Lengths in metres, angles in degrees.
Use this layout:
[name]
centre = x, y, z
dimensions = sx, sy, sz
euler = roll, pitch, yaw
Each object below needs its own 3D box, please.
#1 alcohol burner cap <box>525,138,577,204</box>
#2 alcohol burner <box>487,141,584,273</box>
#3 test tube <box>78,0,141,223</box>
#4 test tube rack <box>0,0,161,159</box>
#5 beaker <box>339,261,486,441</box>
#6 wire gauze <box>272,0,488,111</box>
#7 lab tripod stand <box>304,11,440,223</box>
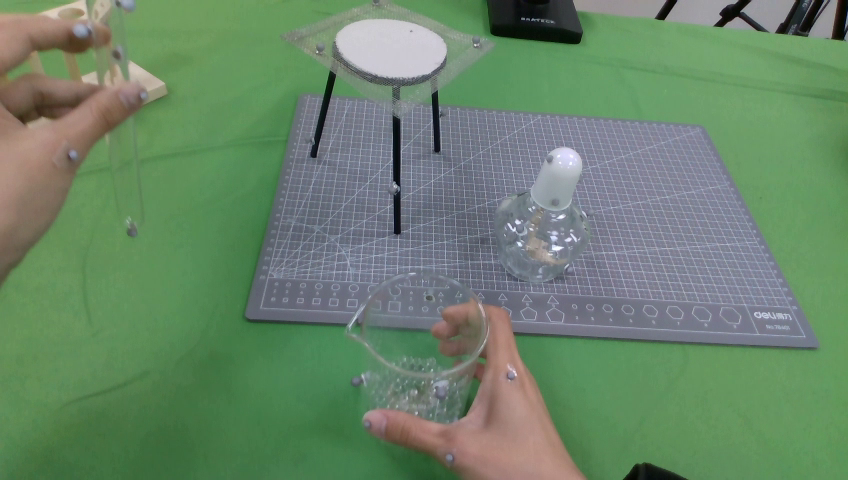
[alcohol burner cap]
centre = 0.096, -0.053, 0.447
dimensions = 0.034, 0.048, 0.033
euler = 4, 51, -4
[alcohol burner]
centre = 0.091, -0.030, 0.474
dimensions = 0.078, 0.120, 0.077
euler = 5, 46, -5
[test tube]
centre = -0.167, -0.066, 0.326
dimensions = 0.017, 0.151, 0.017
euler = 10, 43, -9
[test tube rack]
centre = -0.364, -0.137, 0.530
dimensions = 0.066, 0.086, 0.242
euler = 33, 51, 21
[beaker]
centre = -0.010, 0.074, 0.378
dimensions = 0.084, 0.101, 0.073
euler = -4, 47, -10
[wire gauze]
centre = -0.032, -0.155, 0.466
dimensions = 0.124, 0.011, 0.121
euler = 34, 53, 20
[lab tripod stand]
centre = -0.036, -0.110, 0.516
dimensions = 0.148, 0.132, 0.147
euler = 5, 48, -6
